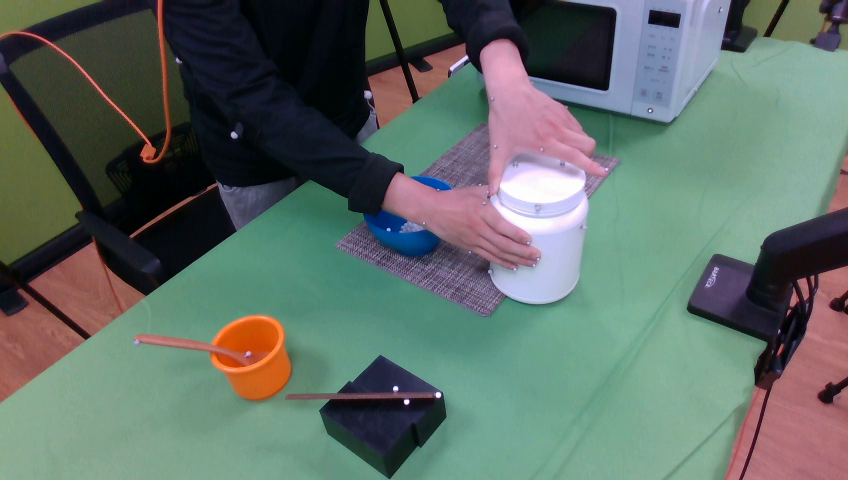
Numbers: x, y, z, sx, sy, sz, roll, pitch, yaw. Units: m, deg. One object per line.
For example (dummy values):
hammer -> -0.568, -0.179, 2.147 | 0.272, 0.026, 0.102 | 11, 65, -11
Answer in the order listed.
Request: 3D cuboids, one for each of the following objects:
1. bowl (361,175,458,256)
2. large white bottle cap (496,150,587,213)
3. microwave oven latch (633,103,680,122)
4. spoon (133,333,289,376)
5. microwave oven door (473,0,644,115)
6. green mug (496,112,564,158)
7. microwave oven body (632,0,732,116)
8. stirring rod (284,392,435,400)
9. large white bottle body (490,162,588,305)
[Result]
bowl -> -0.019, -0.029, 0.955 | 0.151, 0.077, 0.150 | -4, 40, 3
large white bottle cap -> 0.150, -0.077, 0.777 | 0.115, 0.018, 0.114 | -2, 42, 2
microwave oven latch -> 0.443, -0.249, 1.157 | 0.078, 0.029, 0.030 | 21, 49, 30
spoon -> -0.257, 0.137, 0.747 | 0.195, 0.021, 0.041 | 25, 27, -36
microwave oven door -> 0.257, -0.396, 1.199 | 0.353, 0.245, 0.039 | 21, 48, 29
green mug -> 0.185, -0.161, 1.061 | 0.124, 0.105, 0.092 | 15, 46, 25
microwave oven body -> 0.377, -0.462, 1.267 | 0.438, 0.261, 0.327 | 21, 48, 30
stirring rod -> -0.076, 0.180, 0.697 | 0.176, 0.006, 0.014 | -2, 6, 6
large white bottle body -> 0.156, -0.015, 0.834 | 0.130, 0.185, 0.130 | -3, 42, 3
